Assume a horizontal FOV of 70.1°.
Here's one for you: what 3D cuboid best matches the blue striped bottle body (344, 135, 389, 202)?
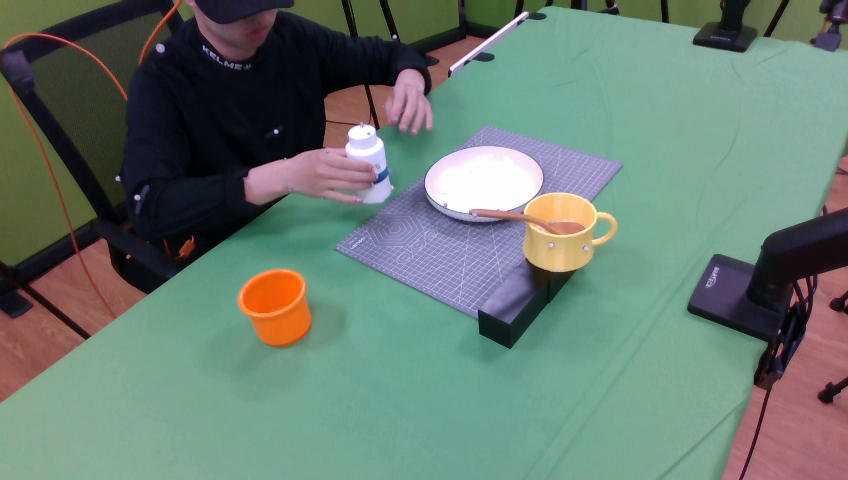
[{"bbox_3d":[-0.095,-0.127,0.992,0.063,0.121,0.063,-4,40,4],"label":"blue striped bottle body"}]

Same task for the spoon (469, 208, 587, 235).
[{"bbox_3d":[0.143,-0.026,0.817,0.195,0.021,0.041,12,35,-29],"label":"spoon"}]

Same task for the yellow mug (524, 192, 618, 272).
[{"bbox_3d":[0.206,-0.014,0.845,0.131,0.064,0.099,-4,41,2],"label":"yellow mug"}]

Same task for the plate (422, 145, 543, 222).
[{"bbox_3d":[0.101,-0.094,1.048,0.207,0.039,0.206,-4,41,4],"label":"plate"}]

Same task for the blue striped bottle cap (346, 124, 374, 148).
[{"bbox_3d":[-0.101,-0.165,0.959,0.044,0.021,0.044,-1,37,1],"label":"blue striped bottle cap"}]
